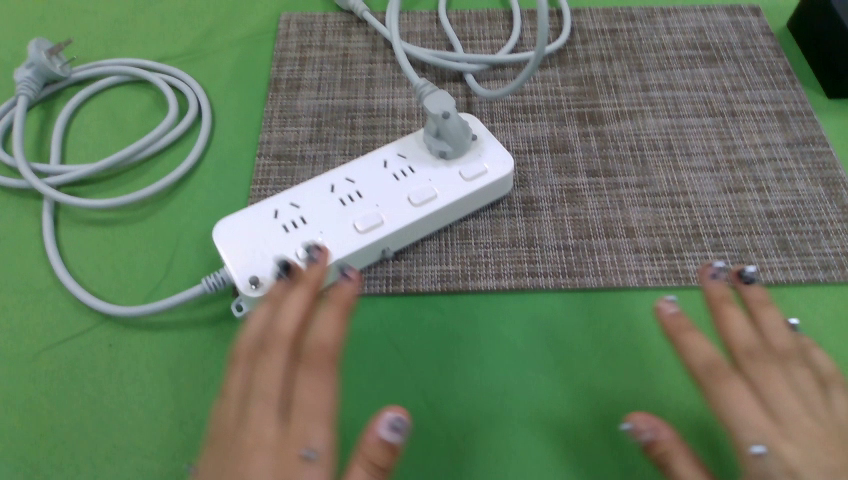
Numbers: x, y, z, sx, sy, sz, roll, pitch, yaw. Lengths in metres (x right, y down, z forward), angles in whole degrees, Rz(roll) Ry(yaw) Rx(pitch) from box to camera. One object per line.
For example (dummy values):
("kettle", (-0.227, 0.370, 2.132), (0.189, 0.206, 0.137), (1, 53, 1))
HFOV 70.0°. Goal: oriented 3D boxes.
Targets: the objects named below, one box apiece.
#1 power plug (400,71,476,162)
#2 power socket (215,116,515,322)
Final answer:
("power plug", (0.012, -0.087, 0.441), (0.035, 0.053, 0.072), (-18, 59, -10))
("power socket", (-0.036, -0.021, 0.425), (0.227, 0.033, 0.071), (-27, 60, -16))
